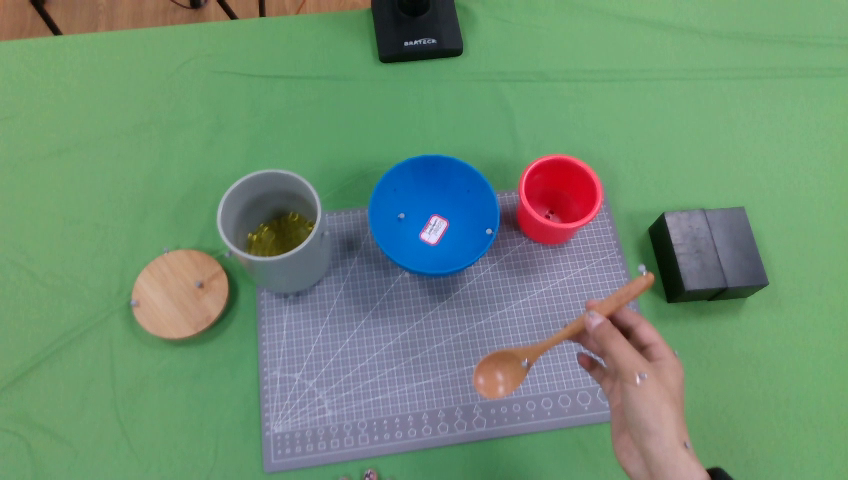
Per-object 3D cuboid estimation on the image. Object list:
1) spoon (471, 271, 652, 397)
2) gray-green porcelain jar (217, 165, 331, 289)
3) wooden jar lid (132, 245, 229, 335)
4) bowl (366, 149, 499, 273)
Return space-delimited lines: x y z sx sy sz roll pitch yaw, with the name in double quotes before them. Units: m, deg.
"spoon" 0.115 0.084 0.529 0.041 0.194 0.022 55 31 7
"gray-green porcelain jar" -0.161 -0.008 0.678 0.106 0.127 0.105 1 68 -2
"wooden jar lid" -0.282 0.059 0.707 0.108 0.021 0.107 1 68 -1
"bowl" 0.009 -0.023 0.718 0.151 0.077 0.150 1 68 -2
